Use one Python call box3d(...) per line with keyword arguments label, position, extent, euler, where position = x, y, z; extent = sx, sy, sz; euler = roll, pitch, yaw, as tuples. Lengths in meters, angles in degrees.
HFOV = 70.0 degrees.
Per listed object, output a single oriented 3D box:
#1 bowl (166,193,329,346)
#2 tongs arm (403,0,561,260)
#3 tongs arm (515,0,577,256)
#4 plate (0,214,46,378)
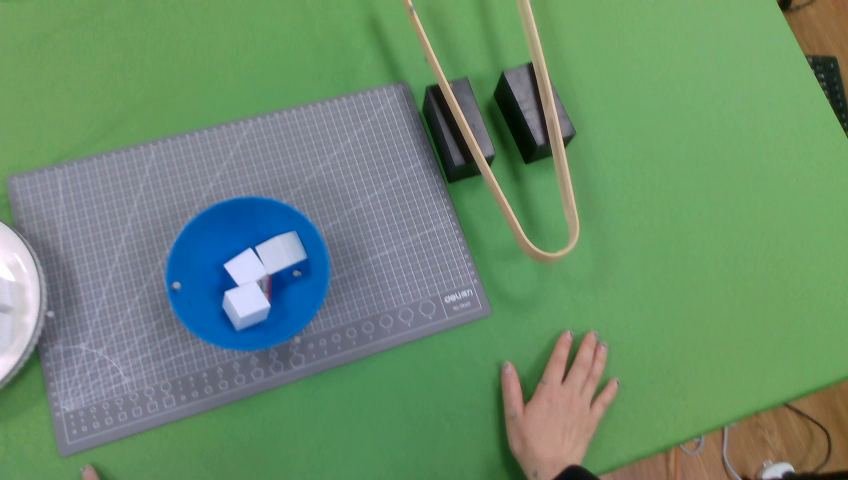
box3d(label="bowl", position=(-0.169, 0.036, 0.609), extent=(0.152, 0.077, 0.150), euler=(2, 74, -7))
box3d(label="tongs arm", position=(0.051, -0.151, 0.669), extent=(0.051, 0.026, 0.382), euler=(-18, 77, -13))
box3d(label="tongs arm", position=(0.126, -0.169, 0.683), extent=(0.028, 0.028, 0.385), euler=(-5, 75, -13))
box3d(label="plate", position=(-0.473, 0.062, 0.586), extent=(0.208, 0.039, 0.206), euler=(2, 74, -6))
